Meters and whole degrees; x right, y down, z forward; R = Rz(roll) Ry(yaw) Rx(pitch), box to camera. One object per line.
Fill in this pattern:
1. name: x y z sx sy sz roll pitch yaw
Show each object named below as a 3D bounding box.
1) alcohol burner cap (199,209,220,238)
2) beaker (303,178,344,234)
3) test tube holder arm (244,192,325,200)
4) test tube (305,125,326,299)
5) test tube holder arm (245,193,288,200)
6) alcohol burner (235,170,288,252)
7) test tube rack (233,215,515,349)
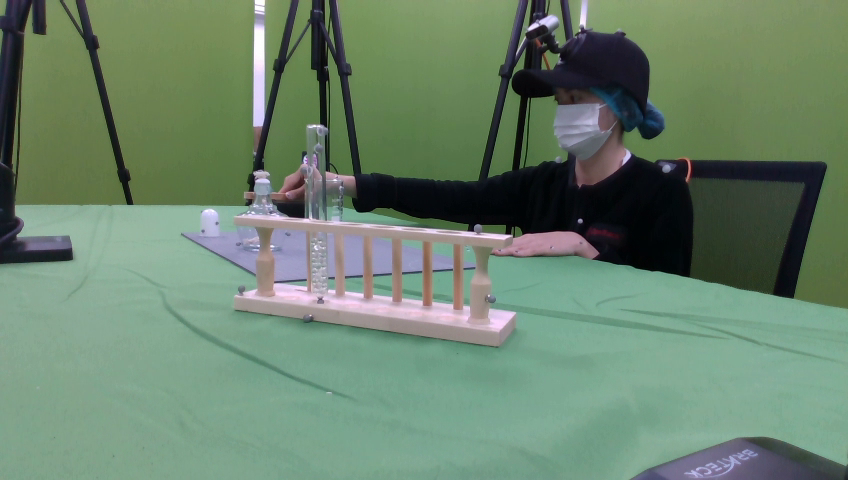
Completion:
1. alcohol burner cap: -0.356 -0.027 1.002 0.034 0.048 0.034 2 7 0
2. beaker: -0.189 -0.063 1.119 0.073 0.100 0.084 6 9 28
3. test tube holder arm: -0.287 -0.091 1.262 0.179 0.015 0.013 -2 18 -38
4. test tube: -0.093 -0.023 0.520 0.017 0.150 0.017 0 7 0
5. test tube holder arm: -0.320 -0.088 1.230 0.088 0.015 0.010 -2 18 -37
6. alcohol burner: -0.236 -0.042 0.882 0.078 0.119 0.078 2 9 0
7. test tube rack: -0.045 0.029 0.526 0.242 0.085 0.067 5 8 19
